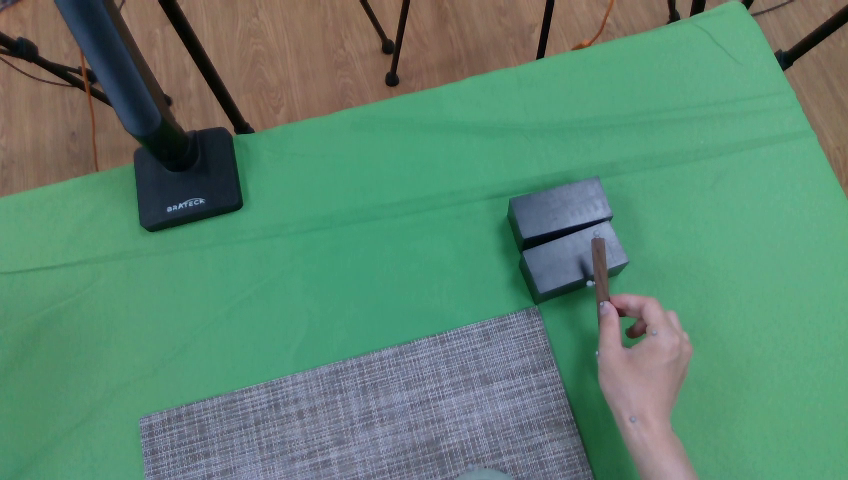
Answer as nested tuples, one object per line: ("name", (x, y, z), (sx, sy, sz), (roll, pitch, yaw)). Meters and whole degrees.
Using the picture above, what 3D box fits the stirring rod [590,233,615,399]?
("stirring rod", (0.181, 0.080, 0.615), (0.014, 0.006, 0.176), (3, 106, 44))

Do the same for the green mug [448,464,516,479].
("green mug", (0.064, 0.268, 0.551), (0.092, 0.105, 0.124), (-32, 72, -7))
